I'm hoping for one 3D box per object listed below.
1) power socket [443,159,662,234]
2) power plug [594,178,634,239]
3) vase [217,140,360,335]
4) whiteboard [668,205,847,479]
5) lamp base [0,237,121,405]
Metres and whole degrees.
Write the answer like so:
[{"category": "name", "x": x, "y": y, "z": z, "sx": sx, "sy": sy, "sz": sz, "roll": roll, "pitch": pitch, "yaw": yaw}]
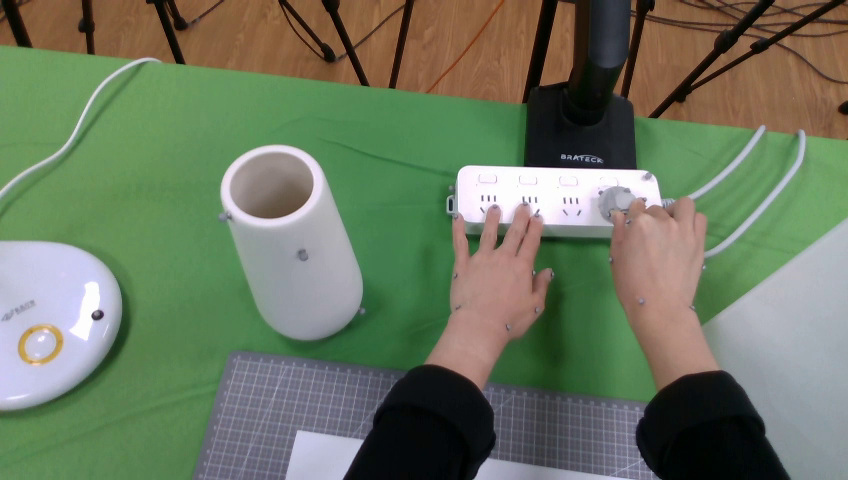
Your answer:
[{"category": "power socket", "x": 0.133, "y": -0.045, "z": 0.626, "sx": 0.227, "sy": 0.033, "sz": 0.071, "roll": 2, "pitch": 62, "yaw": -2}, {"category": "power plug", "x": 0.184, "y": -0.028, "z": 0.595, "sx": 0.035, "sy": 0.053, "sz": 0.072, "roll": 12, "pitch": 66, "yaw": 4}, {"category": "vase", "x": -0.108, "y": 0.005, "z": 0.497, "sx": 0.098, "sy": 0.201, "sz": 0.097, "roll": 0, "pitch": 61, "yaw": 0}, {"category": "whiteboard", "x": 0.386, "y": 0.076, "z": 0.452, "sx": 0.144, "sy": 0.307, "sz": 0.215, "roll": -13, "pitch": 61, "yaw": -30}, {"category": "lamp base", "x": -0.368, "y": 0.026, "z": 0.487, "sx": 0.178, "sy": 0.182, "sz": 0.160, "roll": 37, "pitch": 66, "yaw": 19}]
